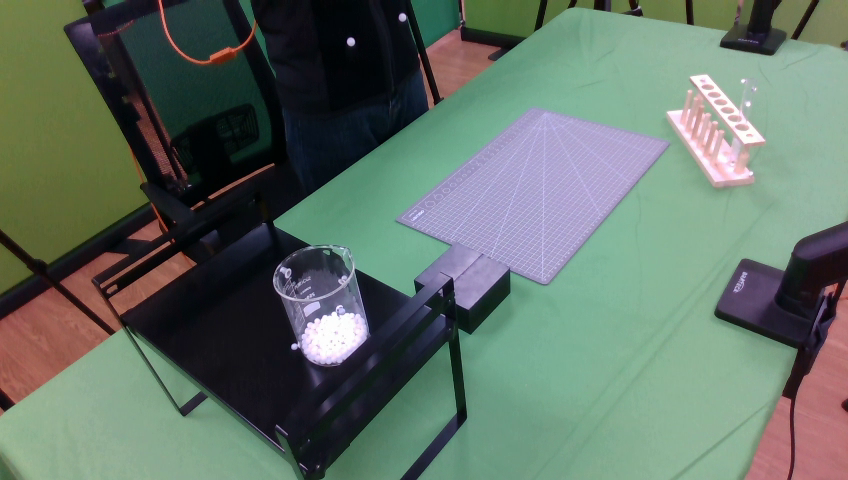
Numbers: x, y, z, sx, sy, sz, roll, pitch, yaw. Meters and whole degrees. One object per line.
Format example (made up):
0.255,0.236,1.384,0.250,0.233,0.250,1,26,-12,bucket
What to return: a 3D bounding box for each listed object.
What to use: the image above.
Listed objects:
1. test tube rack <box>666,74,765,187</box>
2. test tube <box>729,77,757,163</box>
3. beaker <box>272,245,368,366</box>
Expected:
0.512,-0.201,1.082,0.067,0.085,0.241,-6,41,2,test tube rack
0.525,-0.195,0.997,0.017,0.151,0.017,-4,36,4,test tube
-0.093,0.064,0.578,0.073,0.101,0.084,21,48,29,beaker
